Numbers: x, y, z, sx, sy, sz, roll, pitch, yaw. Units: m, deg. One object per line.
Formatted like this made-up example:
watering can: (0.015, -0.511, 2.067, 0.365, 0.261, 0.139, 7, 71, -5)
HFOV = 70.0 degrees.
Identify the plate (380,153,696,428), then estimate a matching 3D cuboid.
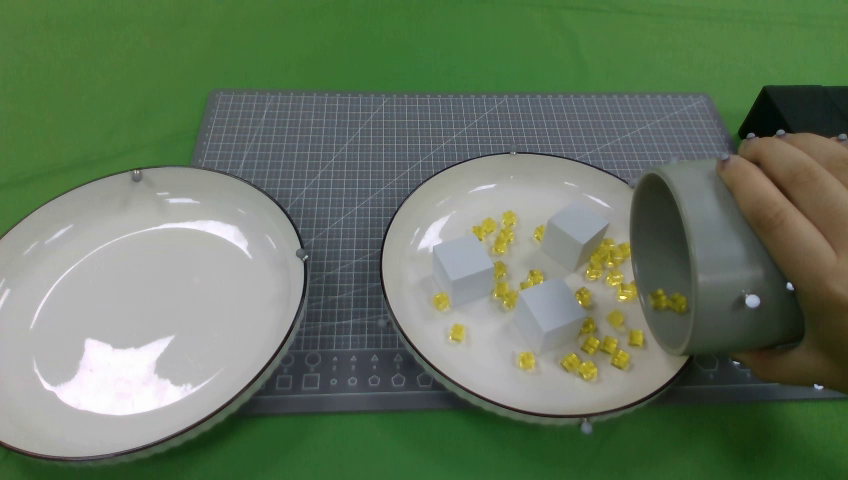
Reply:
plate: (0.075, 0.028, 0.401, 0.208, 0.039, 0.205, 2, 51, -2)

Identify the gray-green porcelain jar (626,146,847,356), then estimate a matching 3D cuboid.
gray-green porcelain jar: (0.189, 0.005, 0.332, 0.126, 0.107, 0.105, -6, 52, 3)

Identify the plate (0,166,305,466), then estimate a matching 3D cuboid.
plate: (-0.177, 0.040, 0.377, 0.209, 0.038, 0.207, 1, 52, -1)
